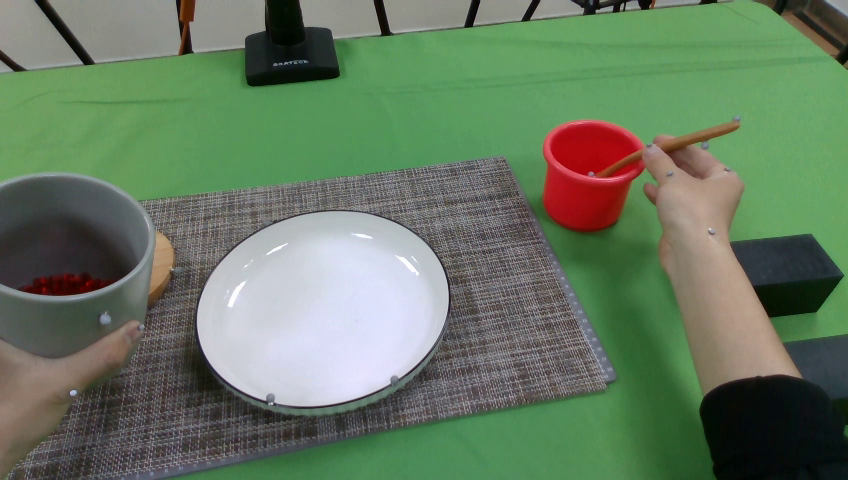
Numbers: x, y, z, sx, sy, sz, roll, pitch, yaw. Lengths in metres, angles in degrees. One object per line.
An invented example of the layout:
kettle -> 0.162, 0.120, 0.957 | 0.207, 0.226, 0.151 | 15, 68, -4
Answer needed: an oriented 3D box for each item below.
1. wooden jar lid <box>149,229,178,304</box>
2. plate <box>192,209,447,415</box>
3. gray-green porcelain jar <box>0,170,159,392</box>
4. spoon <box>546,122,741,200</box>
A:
wooden jar lid -> -0.278, 0.029, 0.550 | 0.108, 0.021, 0.107 | 1, 45, -1
plate -> -0.084, 0.057, 0.513 | 0.208, 0.039, 0.205 | 1, 46, 0
gray-green porcelain jar -> -0.243, 0.034, 0.410 | 0.106, 0.127, 0.105 | 17, 43, -16
spoon -> 0.195, -0.072, 0.566 | 0.041, 0.193, 0.022 | -41, 101, -42
